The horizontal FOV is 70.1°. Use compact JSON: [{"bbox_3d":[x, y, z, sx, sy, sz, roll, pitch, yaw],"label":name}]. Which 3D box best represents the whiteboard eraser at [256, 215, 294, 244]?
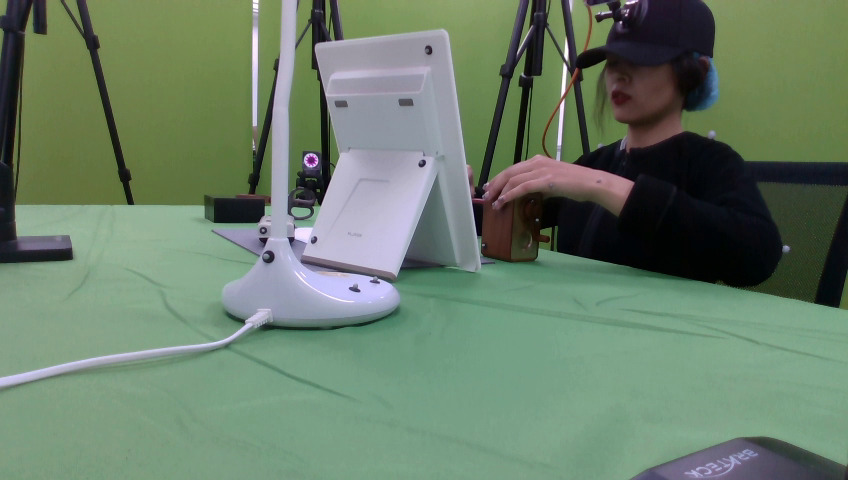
[{"bbox_3d":[-0.232,-0.016,0.951,0.056,0.042,0.112,2,7,-12],"label":"whiteboard eraser"}]

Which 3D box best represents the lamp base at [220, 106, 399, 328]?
[{"bbox_3d":[-0.101,-0.023,0.531,0.160,0.180,0.179,4,10,10],"label":"lamp base"}]

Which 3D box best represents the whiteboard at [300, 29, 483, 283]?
[{"bbox_3d":[-0.074,-0.082,0.742,0.216,0.305,0.144,9,30,38],"label":"whiteboard"}]

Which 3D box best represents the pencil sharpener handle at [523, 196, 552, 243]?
[{"bbox_3d":[0.168,-0.029,0.871,0.036,0.068,0.030,-18,19,-32],"label":"pencil sharpener handle"}]

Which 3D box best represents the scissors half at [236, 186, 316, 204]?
[{"bbox_3d":[-0.320,-0.097,1.316,0.176,0.040,0.013,-3,11,-29],"label":"scissors half"}]

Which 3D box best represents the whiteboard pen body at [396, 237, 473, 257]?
[{"bbox_3d":[0.014,0.012,0.886,0.140,0.017,0.017,10,10,38],"label":"whiteboard pen body"}]

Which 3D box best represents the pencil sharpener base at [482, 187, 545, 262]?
[{"bbox_3d":[0.135,-0.024,0.912,0.062,0.107,0.076,-3,10,-35],"label":"pencil sharpener base"}]

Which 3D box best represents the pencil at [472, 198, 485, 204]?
[{"bbox_3d":[0.064,-0.069,1.024,0.012,0.012,0.193,-2,8,-32],"label":"pencil"}]

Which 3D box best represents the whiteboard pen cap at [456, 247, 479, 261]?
[{"bbox_3d":[0.060,0.020,0.850,0.033,0.018,0.018,9,10,37],"label":"whiteboard pen cap"}]

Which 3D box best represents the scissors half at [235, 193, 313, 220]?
[{"bbox_3d":[-0.324,-0.077,1.319,0.176,0.040,0.012,17,6,-31],"label":"scissors half"}]
